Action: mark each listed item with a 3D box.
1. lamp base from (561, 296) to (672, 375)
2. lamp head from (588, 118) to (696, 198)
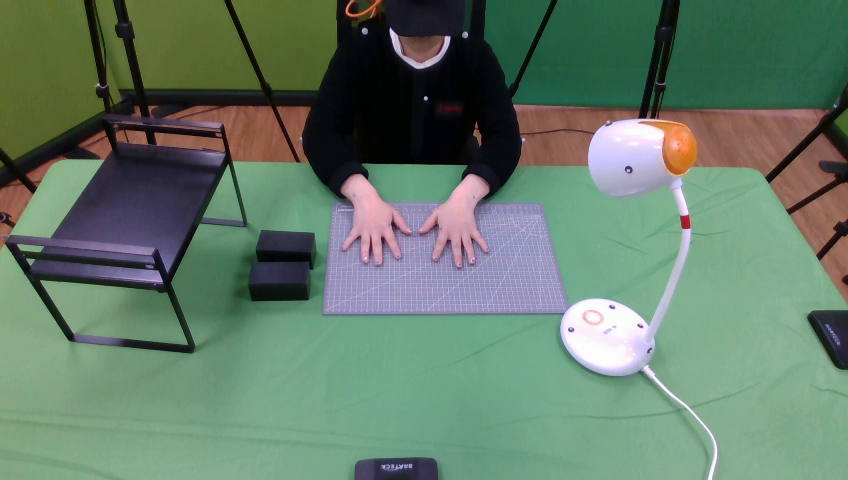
[{"bbox_3d":[0.332,0.119,0.996,0.160,0.181,0.178,-34,59,-31],"label":"lamp base"},{"bbox_3d":[0.304,-0.113,0.823,0.112,0.112,0.122,-26,16,-25],"label":"lamp head"}]
